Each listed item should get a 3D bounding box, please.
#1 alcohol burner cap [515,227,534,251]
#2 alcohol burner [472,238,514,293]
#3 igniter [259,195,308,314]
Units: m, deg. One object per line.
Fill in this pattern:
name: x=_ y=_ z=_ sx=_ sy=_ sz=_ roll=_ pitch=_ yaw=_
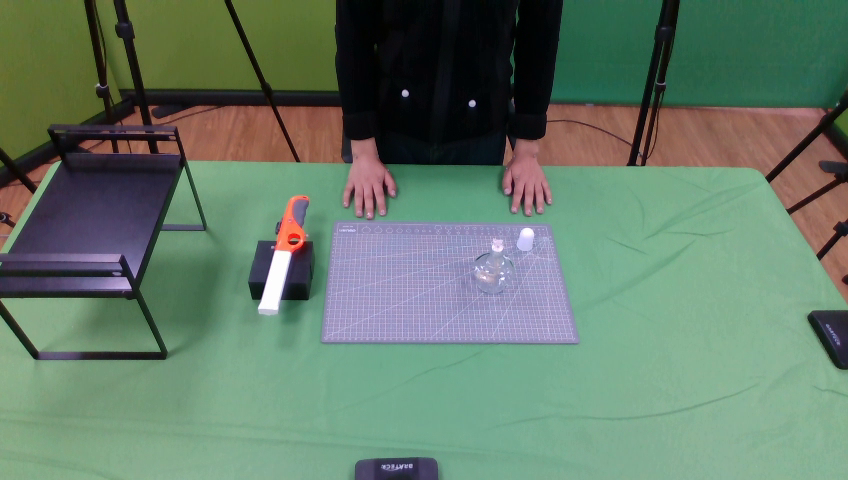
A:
alcohol burner cap: x=0.202 y=-0.005 z=1.201 sx=0.034 sy=0.048 sz=0.033 roll=3 pitch=46 yaw=-3
alcohol burner: x=0.128 y=0.041 z=1.102 sx=0.078 sy=0.120 sz=0.077 roll=1 pitch=47 yaw=-1
igniter: x=-0.252 y=0.016 z=1.094 sx=0.057 sy=0.025 sz=0.275 roll=6 pitch=48 yaw=-3
